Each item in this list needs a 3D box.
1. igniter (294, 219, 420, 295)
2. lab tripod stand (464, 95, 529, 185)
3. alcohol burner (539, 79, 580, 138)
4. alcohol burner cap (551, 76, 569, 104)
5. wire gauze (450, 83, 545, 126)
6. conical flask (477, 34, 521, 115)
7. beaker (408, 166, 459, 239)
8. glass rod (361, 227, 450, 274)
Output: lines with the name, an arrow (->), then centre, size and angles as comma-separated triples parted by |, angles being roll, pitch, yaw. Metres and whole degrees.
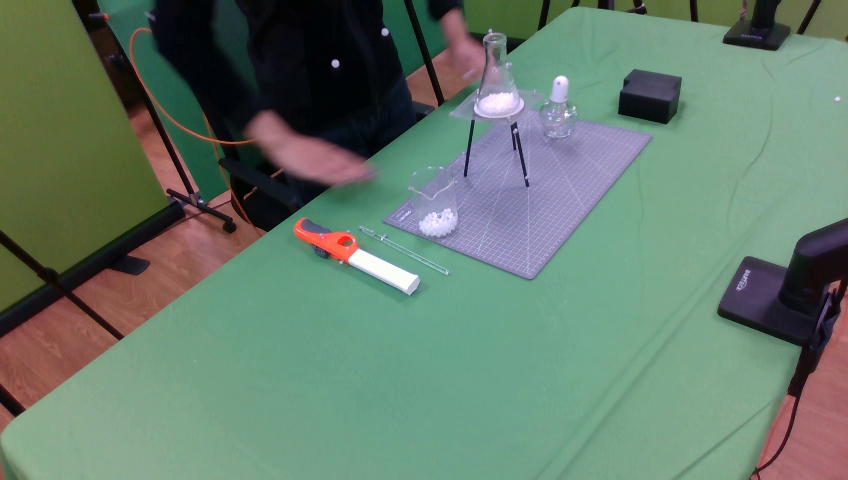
igniter -> -0.118, 0.022, 0.977 | 0.274, 0.025, 0.057 | 24, 60, 34
lab tripod stand -> 0.138, -0.182, 1.082 | 0.148, 0.132, 0.147 | -6, 38, 5
alcohol burner -> 0.261, -0.259, 1.164 | 0.078, 0.119, 0.077 | -4, 42, 4
alcohol burner cap -> 0.258, -0.285, 1.140 | 0.034, 0.048, 0.033 | -2, 47, 2
wire gauze -> 0.126, -0.232, 1.041 | 0.120, 0.011, 0.125 | 17, 48, 31
conical flask -> 0.121, -0.275, 0.999 | 0.075, 0.122, 0.075 | -5, 40, 5
beaker -> 0.018, -0.057, 0.984 | 0.074, 0.101, 0.083 | -6, 41, 5
glass rod -> -0.034, 0.015, 0.985 | 0.198, 0.008, 0.008 | 26, 52, 34
